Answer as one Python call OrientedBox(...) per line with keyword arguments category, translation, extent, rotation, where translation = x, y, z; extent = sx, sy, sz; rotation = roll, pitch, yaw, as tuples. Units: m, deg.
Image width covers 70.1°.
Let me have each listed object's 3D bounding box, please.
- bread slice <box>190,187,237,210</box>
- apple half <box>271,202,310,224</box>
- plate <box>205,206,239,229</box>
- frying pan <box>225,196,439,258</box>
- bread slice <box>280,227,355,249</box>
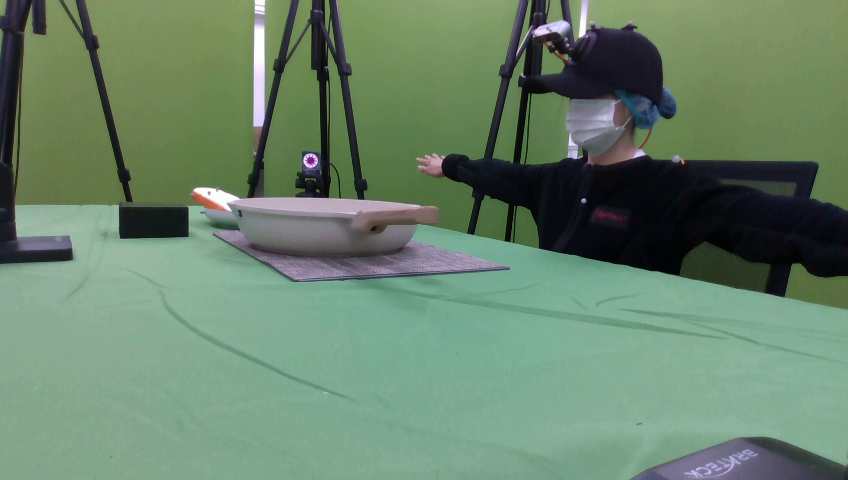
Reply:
OrientedBox(category="bread slice", translation=(-0.402, -0.074, 1.218), extent=(0.131, 0.019, 0.105), rotation=(26, 12, 15))
OrientedBox(category="apple half", translation=(-0.262, -0.059, 1.178), extent=(0.081, 0.033, 0.081), rotation=(-22, 2, 1))
OrientedBox(category="plate", translation=(-0.324, -0.046, 1.199), extent=(0.208, 0.039, 0.207), rotation=(3, 7, 0))
OrientedBox(category="frying pan", translation=(-0.103, -0.027, 0.845), extent=(0.308, 0.102, 0.486), rotation=(-1, 0, -25))
OrientedBox(category="bread slice", translation=(-0.170, -0.004, 0.943), extent=(0.107, 0.018, 0.134), rotation=(2, 8, -15))
